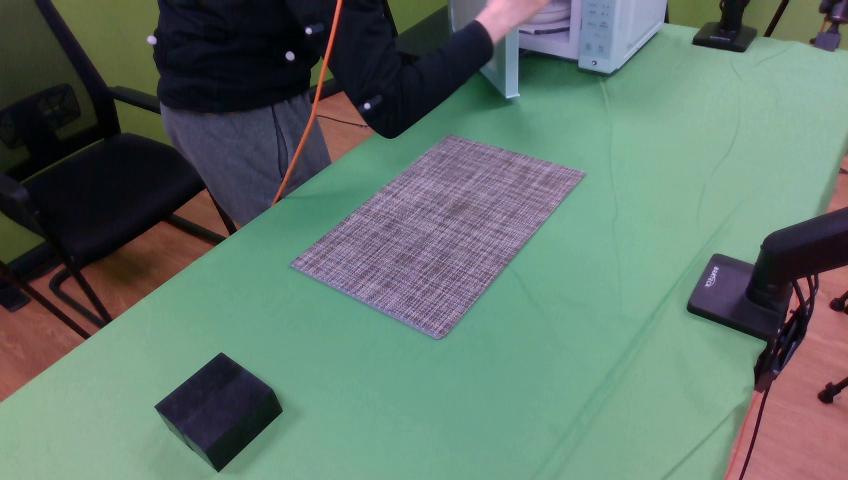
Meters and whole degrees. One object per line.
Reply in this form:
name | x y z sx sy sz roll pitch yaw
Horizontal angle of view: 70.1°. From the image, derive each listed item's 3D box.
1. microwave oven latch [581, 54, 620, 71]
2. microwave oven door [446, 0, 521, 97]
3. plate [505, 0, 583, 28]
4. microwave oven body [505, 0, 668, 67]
microwave oven latch | 0.387 -0.394 1.330 0.078 0.029 0.030 26 51 33
microwave oven door | 0.122 -0.501 1.332 0.039 0.245 0.353 -17 42 -10
plate | 0.286 -0.571 1.488 0.209 0.038 0.208 -5 44 6
microwave oven body | 0.325 -0.609 1.437 0.438 0.261 0.327 23 50 30
